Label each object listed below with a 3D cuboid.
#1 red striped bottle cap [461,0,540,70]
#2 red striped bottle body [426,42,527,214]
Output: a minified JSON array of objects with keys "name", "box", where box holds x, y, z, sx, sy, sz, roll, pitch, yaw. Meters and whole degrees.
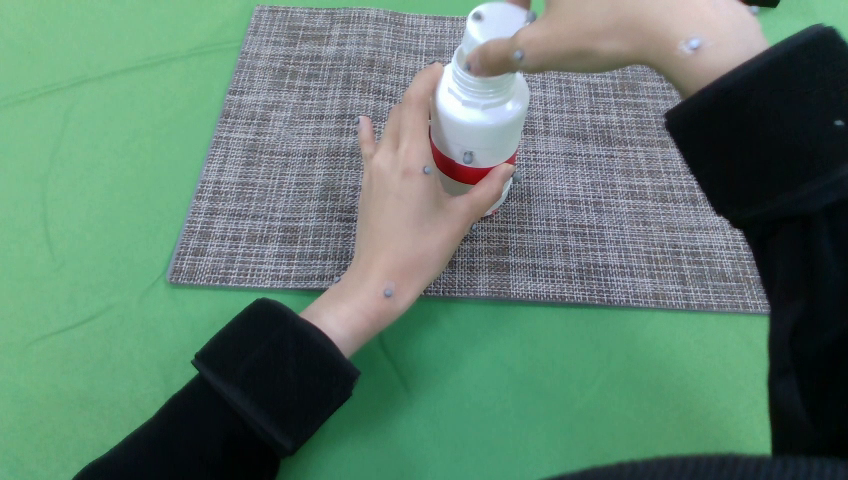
[{"name":"red striped bottle cap","box":[0.044,-0.118,0.346,0.044,0.018,0.044,4,55,-6]},{"name":"red striped bottle body","box":[0.033,-0.076,0.410,0.063,0.120,0.062,1,57,-1]}]
